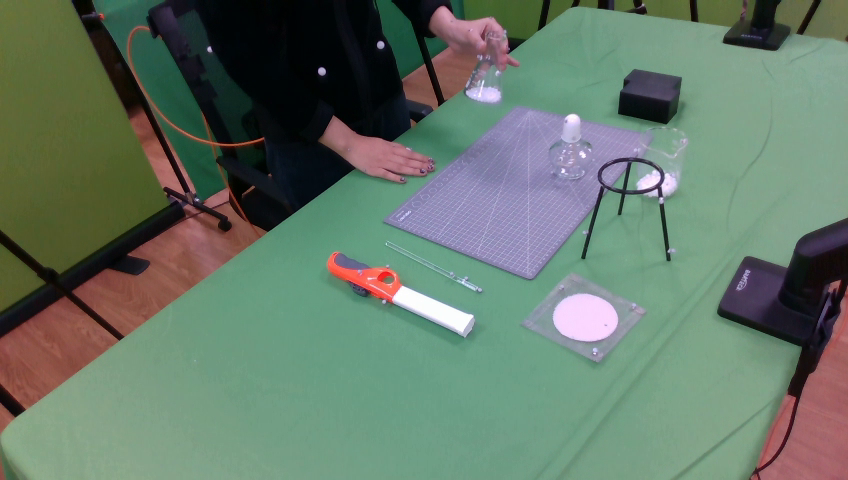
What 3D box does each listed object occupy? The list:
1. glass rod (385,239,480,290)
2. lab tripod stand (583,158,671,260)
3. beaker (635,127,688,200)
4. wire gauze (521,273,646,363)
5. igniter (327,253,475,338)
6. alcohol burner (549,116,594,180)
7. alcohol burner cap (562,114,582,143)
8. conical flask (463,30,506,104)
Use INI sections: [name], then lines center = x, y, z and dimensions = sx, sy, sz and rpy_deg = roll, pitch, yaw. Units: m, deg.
[glass rod]
center = 0.009, 0.037, 0.950
dimensions = 0.198, 0.008, 0.008
rpy_deg = 26, 52, 35
[lab tripod stand]
center = 0.300, -0.046, 0.895
dimensions = 0.148, 0.132, 0.147
rpy_deg = -7, 38, 6
[beaker]
center = 0.388, -0.122, 0.994
dimensions = 0.074, 0.101, 0.083
rpy_deg = -8, 41, 2
[wire gauze]
center = 0.219, 0.105, 0.830
dimensions = 0.120, 0.011, 0.125
rpy_deg = 28, 54, 37
[igniter]
center = -0.045, 0.077, 0.898
dimensions = 0.274, 0.025, 0.057
rpy_deg = 22, 60, 32
[alcohol burner]
center = 0.258, -0.166, 1.055
dimensions = 0.078, 0.120, 0.077
rpy_deg = -6, 42, 6
[alcohol burner cap]
center = 0.254, -0.192, 1.030
dimensions = 0.034, 0.048, 0.033
rpy_deg = -4, 50, 6
[conical flask]
center = 0.117, -0.316, 1.102
dimensions = 0.075, 0.122, 0.075
rpy_deg = 8, 30, -4
